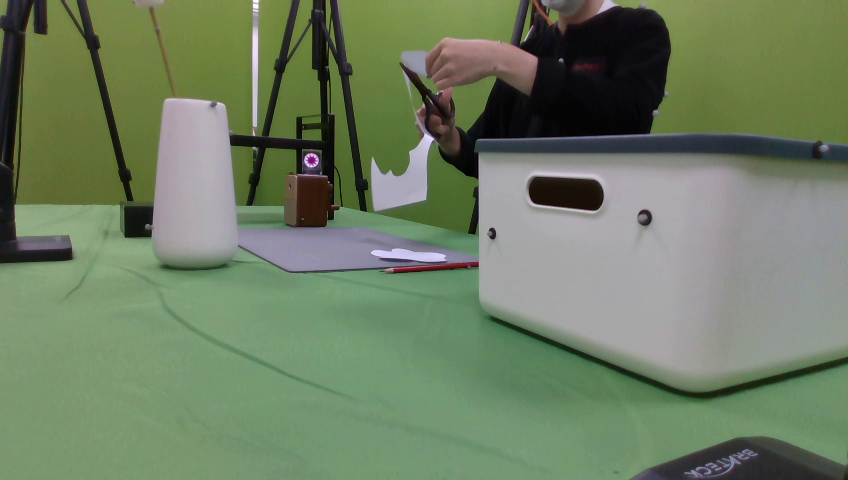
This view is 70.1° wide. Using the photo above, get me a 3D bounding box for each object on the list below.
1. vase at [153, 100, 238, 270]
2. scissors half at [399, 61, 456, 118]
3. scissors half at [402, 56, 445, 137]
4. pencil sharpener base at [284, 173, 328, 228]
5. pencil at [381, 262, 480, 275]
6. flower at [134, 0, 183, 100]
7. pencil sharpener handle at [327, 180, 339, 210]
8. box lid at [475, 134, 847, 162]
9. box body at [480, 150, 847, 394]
[{"bbox_3d":[-0.278,-0.066,0.736,0.098,0.200,0.098,2,9,0],"label":"vase"},{"bbox_3d":[0.008,-0.269,1.076,0.013,0.040,0.176,16,-7,39],"label":"scissors half"},{"bbox_3d":[-0.003,-0.251,1.071,0.012,0.176,0.040,22,61,41],"label":"scissors half"},{"bbox_3d":[-0.239,-0.081,1.231,0.077,0.107,0.061,-2,8,-36],"label":"pencil sharpener base"},{"bbox_3d":[0.030,0.036,0.794,0.195,0.012,0.012,-3,9,-30],"label":"pencil"},{"bbox_3d":[-0.282,-0.147,0.713,0.038,0.362,0.044,-23,24,-31],"label":"flower"},{"bbox_3d":[-0.194,-0.095,1.256,0.031,0.067,0.036,-2,-7,-36],"label":"pencil sharpener handle"},{"bbox_3d":[0.256,-0.073,0.528,0.373,0.015,0.262,-2,8,-31],"label":"box lid"},{"bbox_3d":[0.254,0.002,0.539,0.366,0.160,0.253,-2,9,-31],"label":"box body"}]
